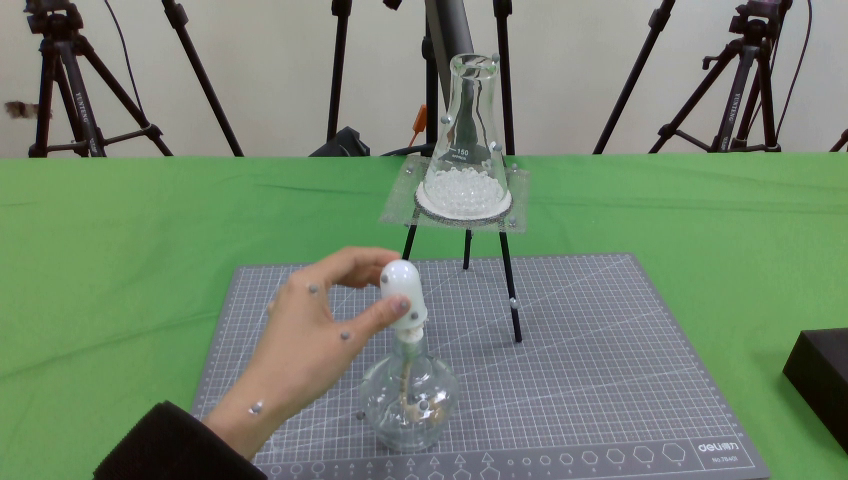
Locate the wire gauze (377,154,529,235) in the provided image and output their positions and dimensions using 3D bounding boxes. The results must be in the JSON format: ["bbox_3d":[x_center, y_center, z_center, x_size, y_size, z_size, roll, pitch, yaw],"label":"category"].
[{"bbox_3d":[0.031,-0.041,0.538,0.121,0.011,0.124,7,37,8],"label":"wire gauze"}]

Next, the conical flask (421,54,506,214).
[{"bbox_3d":[0.036,-0.088,0.501,0.075,0.123,0.074,2,35,-1],"label":"conical flask"}]

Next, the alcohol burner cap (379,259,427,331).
[{"bbox_3d":[-0.016,0.036,0.421,0.034,0.048,0.033,-4,33,3],"label":"alcohol burner cap"}]

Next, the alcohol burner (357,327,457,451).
[{"bbox_3d":[-0.012,0.102,0.460,0.078,0.120,0.077,1,32,0],"label":"alcohol burner"}]

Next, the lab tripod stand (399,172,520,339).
[{"bbox_3d":[0.036,0.014,0.575,0.148,0.132,0.147,3,34,-2],"label":"lab tripod stand"}]
